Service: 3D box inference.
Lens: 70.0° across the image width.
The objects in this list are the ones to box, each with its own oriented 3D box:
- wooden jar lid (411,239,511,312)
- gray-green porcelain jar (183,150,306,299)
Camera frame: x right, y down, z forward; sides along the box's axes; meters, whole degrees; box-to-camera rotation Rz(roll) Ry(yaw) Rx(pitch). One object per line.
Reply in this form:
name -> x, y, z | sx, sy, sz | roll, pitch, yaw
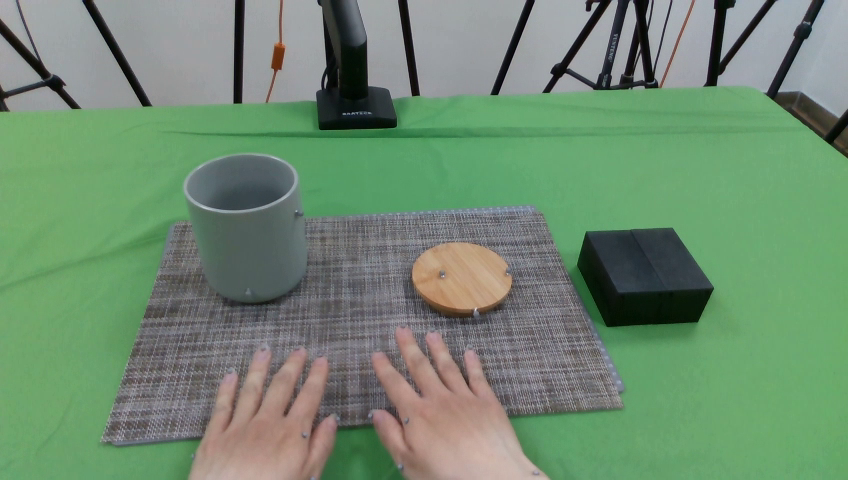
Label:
wooden jar lid -> 0.039, 0.039, 0.656 | 0.108, 0.021, 0.107 | 3, 40, -2
gray-green porcelain jar -> -0.176, -0.012, 0.616 | 0.106, 0.127, 0.105 | 2, 39, -1
